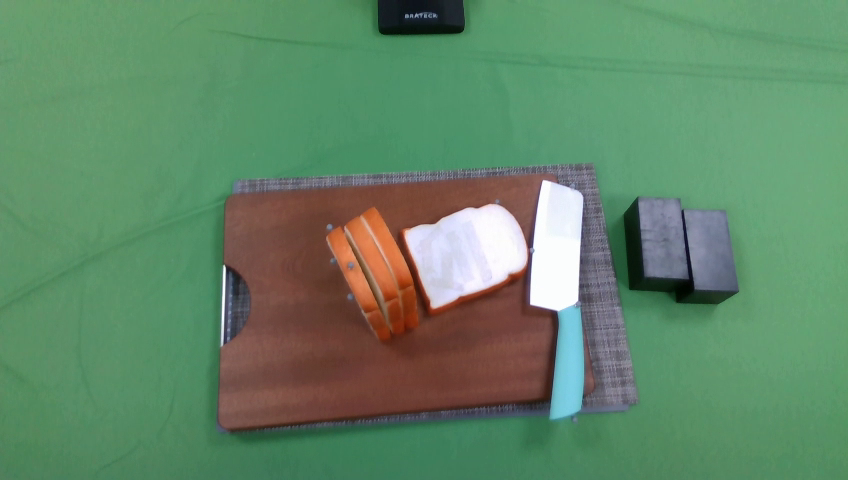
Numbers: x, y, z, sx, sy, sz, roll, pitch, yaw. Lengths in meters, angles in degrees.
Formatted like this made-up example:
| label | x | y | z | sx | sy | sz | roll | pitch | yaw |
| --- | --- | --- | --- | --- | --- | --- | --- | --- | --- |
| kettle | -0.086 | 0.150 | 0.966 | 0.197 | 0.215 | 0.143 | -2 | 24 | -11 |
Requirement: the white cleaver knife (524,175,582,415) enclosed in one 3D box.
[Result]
| label | x | y | z | sx | sy | sz | roll | pitch | yaw |
| --- | --- | --- | --- | --- | --- | --- | --- | --- | --- |
| white cleaver knife | 0.145 | 0.054 | 0.685 | 0.066 | 0.021 | 0.284 | 9 | 64 | -3 |

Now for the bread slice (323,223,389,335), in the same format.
| label | x | y | z | sx | sy | sz | roll | pitch | yaw |
| --- | --- | --- | --- | --- | --- | --- | --- | --- | --- |
| bread slice | -0.071 | 0.039 | 0.620 | 0.019 | 0.132 | 0.104 | -27 | 71 | -6 |

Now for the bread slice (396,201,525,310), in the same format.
| label | x | y | z | sx | sy | sz | roll | pitch | yaw |
| --- | --- | --- | --- | --- | --- | --- | --- | --- | --- |
| bread slice | 0.047 | 0.012 | 0.690 | 0.134 | 0.018 | 0.106 | -17 | 74 | -4 |
